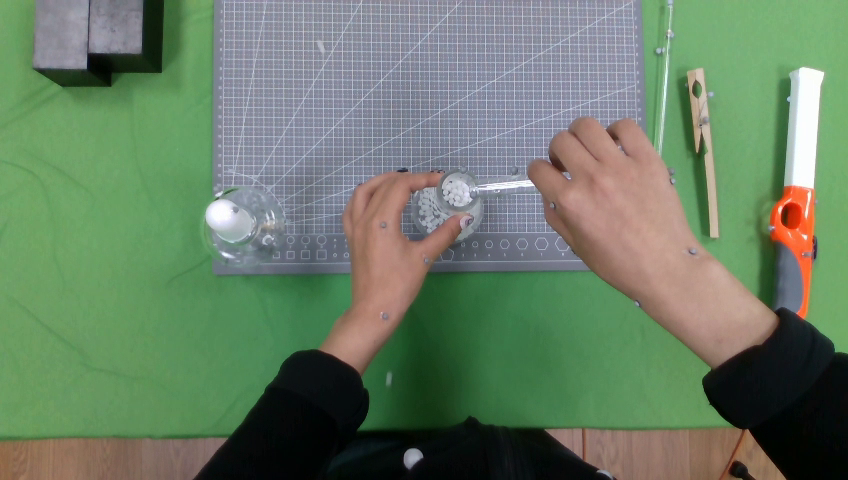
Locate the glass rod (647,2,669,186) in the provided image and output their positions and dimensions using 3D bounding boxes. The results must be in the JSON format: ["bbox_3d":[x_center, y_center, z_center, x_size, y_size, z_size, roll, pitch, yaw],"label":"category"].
[{"bbox_3d":[0.250,-0.156,0.649,0.008,0.008,0.199,6,88,-3],"label":"glass rod"}]

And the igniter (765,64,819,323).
[{"bbox_3d":[0.391,-0.048,0.642,0.057,0.025,0.276,8,86,-13],"label":"igniter"}]

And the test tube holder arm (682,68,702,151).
[{"bbox_3d":[0.288,-0.139,0.647,0.010,0.015,0.087,-9,87,33],"label":"test tube holder arm"}]

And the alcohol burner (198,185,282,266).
[{"bbox_3d":[-0.174,-0.016,0.558,0.078,0.119,0.077,0,85,-1],"label":"alcohol burner"}]

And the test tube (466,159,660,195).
[{"bbox_3d":[0.106,-0.049,0.476,0.150,0.017,0.017,-4,86,20],"label":"test tube"}]

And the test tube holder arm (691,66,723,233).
[{"bbox_3d":[0.298,-0.095,0.641,0.013,0.015,0.178,-11,86,33],"label":"test tube holder arm"}]

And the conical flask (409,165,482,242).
[{"bbox_3d":[0.025,-0.039,0.568,0.075,0.122,0.075,0,86,-3],"label":"conical flask"}]

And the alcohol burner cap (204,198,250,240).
[{"bbox_3d":[-0.172,-0.020,0.523,0.034,0.048,0.033,1,77,-3],"label":"alcohol burner cap"}]
